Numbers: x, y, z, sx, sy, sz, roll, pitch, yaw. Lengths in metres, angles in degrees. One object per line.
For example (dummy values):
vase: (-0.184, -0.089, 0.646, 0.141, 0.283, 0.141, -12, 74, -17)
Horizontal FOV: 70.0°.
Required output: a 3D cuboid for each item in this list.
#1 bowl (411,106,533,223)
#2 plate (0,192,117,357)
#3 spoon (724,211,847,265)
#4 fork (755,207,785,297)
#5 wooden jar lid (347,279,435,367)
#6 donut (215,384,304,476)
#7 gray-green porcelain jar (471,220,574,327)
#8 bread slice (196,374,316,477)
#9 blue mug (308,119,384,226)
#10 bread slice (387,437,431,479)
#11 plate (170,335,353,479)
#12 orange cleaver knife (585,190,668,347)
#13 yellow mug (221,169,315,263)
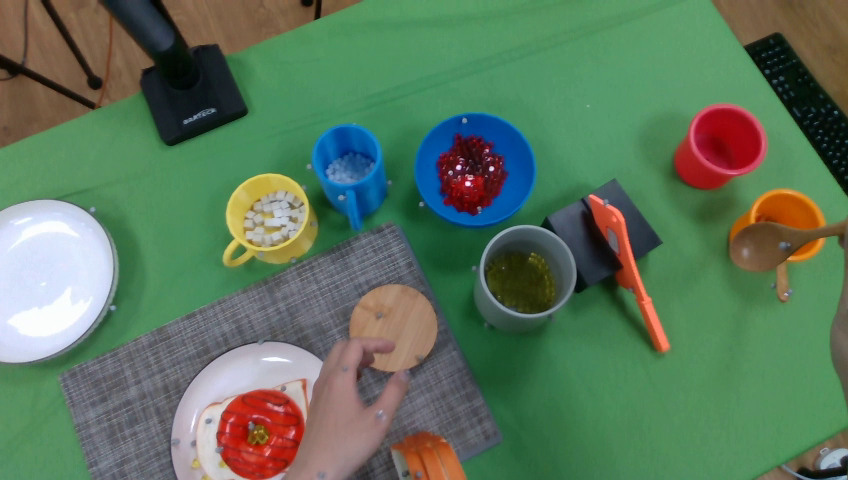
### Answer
bowl: (0.059, -0.084, 0.773, 0.151, 0.077, 0.150, 0, 75, 0)
plate: (-0.483, 0.043, 0.755, 0.208, 0.039, 0.206, 0, 75, 0)
spoon: (0.289, -0.011, 0.434, 0.022, 0.194, 0.041, -4, 82, -12)
fork: (0.408, 0.009, 0.712, 0.028, 0.019, 0.206, 36, 33, 3)
wooden jar lid: (-0.040, 0.103, 0.747, 0.108, 0.021, 0.108, 0, 75, 0)
donut: (-0.183, 0.211, 0.677, 0.099, 0.048, 0.098, 1, 76, -4)
gray-green porcelain jar: (0.110, 0.045, 0.713, 0.106, 0.127, 0.105, 0, 74, 0)
bread slice: (-0.198, 0.221, 0.707, 0.132, 0.019, 0.104, -11, 74, -7)
blue mug: (-0.094, -0.075, 0.756, 0.082, 0.106, 0.116, -6, 74, -2)
bread slice: (-0.010, 0.261, 0.649, 0.018, 0.135, 0.106, -17, 73, -15)
plate: (-0.184, 0.216, 0.705, 0.209, 0.038, 0.208, 0, 74, 0)
orange cleaver knife: (0.245, 0.035, 0.739, 0.012, 0.076, 0.212, -28, 106, -7)
yellow mug: (-0.203, -0.020, 0.760, 0.099, 0.064, 0.130, 41, 79, 11)
